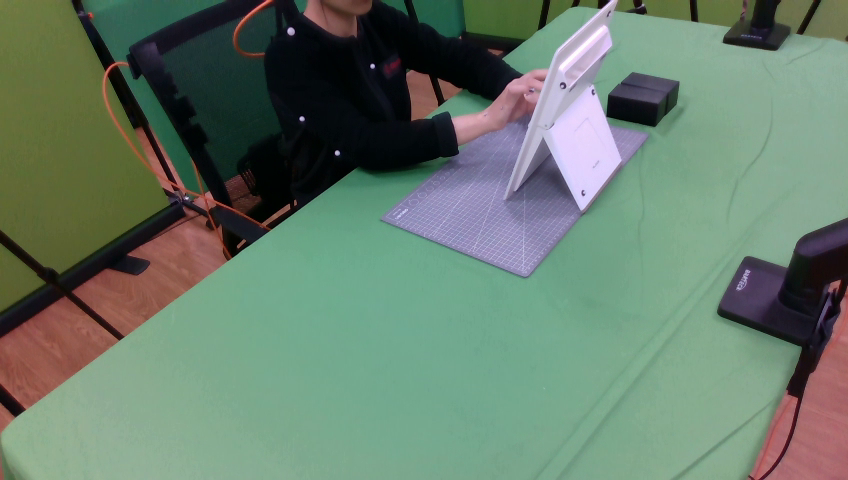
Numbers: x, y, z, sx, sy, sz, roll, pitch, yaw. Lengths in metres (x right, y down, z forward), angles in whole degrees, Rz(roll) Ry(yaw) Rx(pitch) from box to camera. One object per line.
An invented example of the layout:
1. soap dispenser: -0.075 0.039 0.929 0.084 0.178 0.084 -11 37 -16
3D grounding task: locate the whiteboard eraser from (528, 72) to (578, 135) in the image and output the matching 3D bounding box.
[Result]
1. whiteboard eraser: 0.231 -0.240 1.075 0.041 0.112 0.056 35 14 10

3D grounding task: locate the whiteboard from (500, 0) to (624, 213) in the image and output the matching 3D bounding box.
1. whiteboard: 0.271 -0.189 0.978 0.143 0.306 0.218 34 54 16
